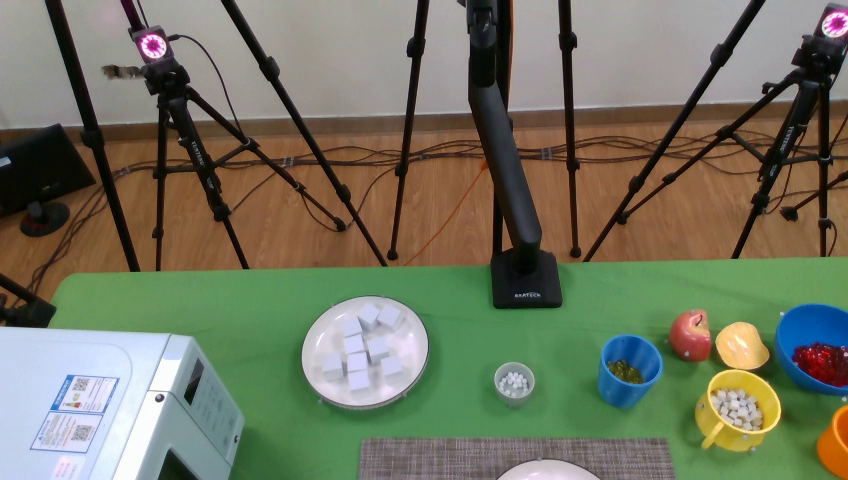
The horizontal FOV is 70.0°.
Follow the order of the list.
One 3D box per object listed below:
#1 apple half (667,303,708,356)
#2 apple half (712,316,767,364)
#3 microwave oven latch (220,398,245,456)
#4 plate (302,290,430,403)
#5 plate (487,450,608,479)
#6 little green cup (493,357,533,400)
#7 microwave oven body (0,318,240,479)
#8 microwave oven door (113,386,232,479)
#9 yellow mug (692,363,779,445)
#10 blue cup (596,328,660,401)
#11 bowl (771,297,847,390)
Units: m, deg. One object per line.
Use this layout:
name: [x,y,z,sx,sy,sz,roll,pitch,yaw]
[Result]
apple half: [0.415,0.143,0.964,0.053,0.075,0.080,1,54,10]
apple half: [0.498,0.164,0.967,0.081,0.033,0.080,-5,64,9]
microwave oven latch: [-0.289,0.275,0.894,0.030,0.030,0.078,4,51,6]
plate: [-0.093,0.175,0.991,0.207,0.039,0.205,-2,50,2]
plate: [0.167,0.384,0.794,0.209,0.038,0.207,-2,50,2]
little green cup: [0.138,0.218,0.941,0.061,0.039,0.061,-2,49,3]
microwave oven body: [-0.455,0.344,0.720,0.326,0.262,0.437,2,51,5]
microwave oven door: [-0.314,0.377,0.677,0.039,0.246,0.352,1,50,5]
yellow mug: [0.440,0.247,0.879,0.131,0.064,0.099,-35,57,-22]
blue cup: [0.298,0.194,0.909,0.092,0.101,0.091,-2,52,2]
bowl: [0.602,0.171,0.925,0.151,0.077,0.150,-2,51,3]
